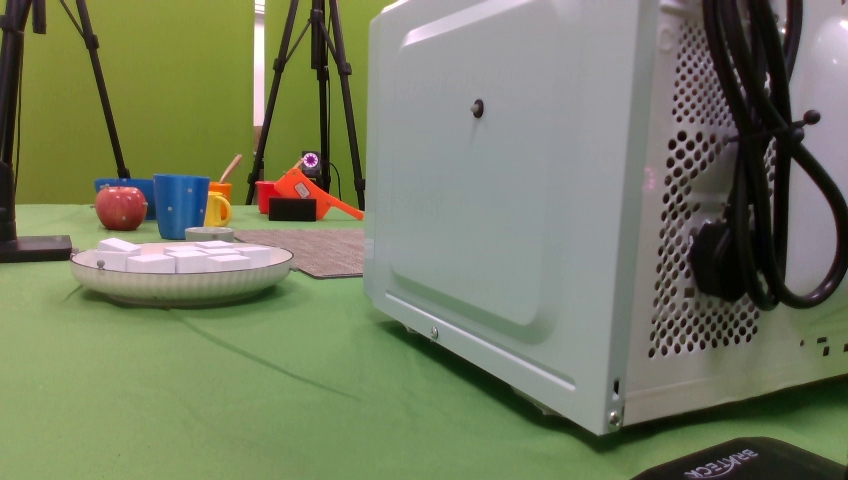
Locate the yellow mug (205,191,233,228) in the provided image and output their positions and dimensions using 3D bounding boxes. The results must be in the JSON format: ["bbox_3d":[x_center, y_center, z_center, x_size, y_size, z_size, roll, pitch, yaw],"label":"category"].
[{"bbox_3d":[-0.415,-0.057,1.132,0.130,0.064,0.100,6,9,16],"label":"yellow mug"}]

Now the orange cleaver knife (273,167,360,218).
[{"bbox_3d":[-0.238,-0.091,1.381,0.212,0.077,0.012,31,0,-19],"label":"orange cleaver knife"}]

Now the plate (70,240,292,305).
[{"bbox_3d":[-0.242,0.031,0.618,0.208,0.039,0.207,2,8,0],"label":"plate"}]

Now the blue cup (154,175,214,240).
[{"bbox_3d":[-0.390,-0.053,0.978,0.093,0.100,0.092,3,6,0],"label":"blue cup"}]

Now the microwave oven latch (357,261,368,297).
[{"bbox_3d":[-0.019,0.033,0.530,0.079,0.029,0.030,-1,7,-27],"label":"microwave oven latch"}]

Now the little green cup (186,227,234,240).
[{"bbox_3d":[-0.284,0.005,0.805,0.061,0.038,0.061,2,8,0],"label":"little green cup"}]

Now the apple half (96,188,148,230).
[{"bbox_3d":[-0.517,-0.052,1.036,0.081,0.074,0.053,2,10,-26],"label":"apple half"}]

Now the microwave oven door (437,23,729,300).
[{"bbox_3d":[0.181,-0.072,0.621,0.358,0.243,0.039,-2,8,-29],"label":"microwave oven door"}]

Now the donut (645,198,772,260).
[{"bbox_3d":[0.239,-0.008,0.513,0.099,0.048,0.099,10,1,0],"label":"donut"}]

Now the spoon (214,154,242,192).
[{"bbox_3d":[-0.439,-0.124,1.317,0.041,0.193,0.022,5,-36,16],"label":"spoon"}]

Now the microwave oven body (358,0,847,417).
[{"bbox_3d":[0.211,-0.047,0.474,0.444,0.260,0.324,-1,7,-28],"label":"microwave oven body"}]

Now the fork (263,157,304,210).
[{"bbox_3d":[-0.345,-0.143,1.505,0.028,0.019,0.207,-4,46,29],"label":"fork"}]

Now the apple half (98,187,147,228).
[{"bbox_3d":[-0.534,-0.059,1.071,0.082,0.081,0.032,-1,11,-25],"label":"apple half"}]

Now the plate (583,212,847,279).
[{"bbox_3d":[0.239,0.002,0.510,0.209,0.038,0.209,2,7,0],"label":"plate"}]

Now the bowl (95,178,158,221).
[{"bbox_3d":[-0.576,-0.081,1.217,0.151,0.077,0.151,3,8,0],"label":"bowl"}]
